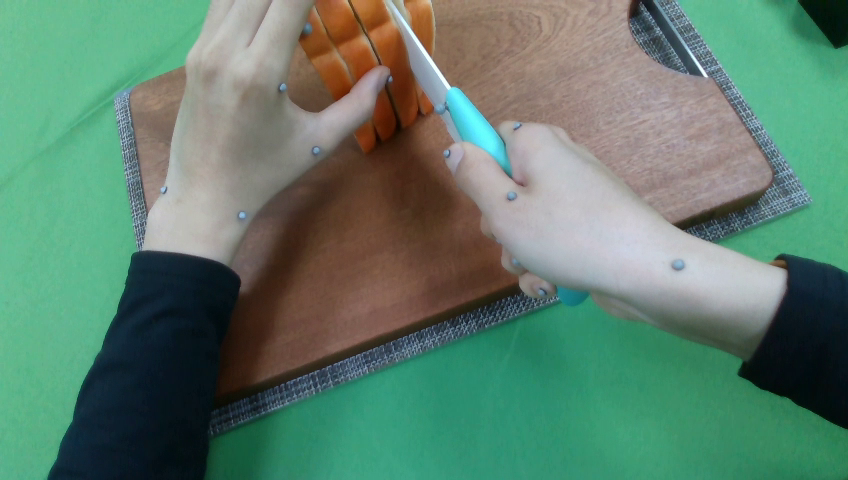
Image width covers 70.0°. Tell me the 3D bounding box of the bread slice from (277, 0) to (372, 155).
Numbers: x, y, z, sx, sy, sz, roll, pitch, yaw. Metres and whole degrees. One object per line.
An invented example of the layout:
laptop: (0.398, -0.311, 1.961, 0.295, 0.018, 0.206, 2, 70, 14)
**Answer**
bread slice: (-0.073, -0.132, 0.390, 0.018, 0.135, 0.106, -26, 64, -1)

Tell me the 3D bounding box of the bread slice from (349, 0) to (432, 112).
bread slice: (-0.026, -0.159, 0.393, 0.019, 0.132, 0.104, -29, 67, -10)

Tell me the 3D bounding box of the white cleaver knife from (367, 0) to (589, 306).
white cleaver knife: (0.012, -0.085, 0.359, 0.021, 0.066, 0.284, -30, 72, 0)
